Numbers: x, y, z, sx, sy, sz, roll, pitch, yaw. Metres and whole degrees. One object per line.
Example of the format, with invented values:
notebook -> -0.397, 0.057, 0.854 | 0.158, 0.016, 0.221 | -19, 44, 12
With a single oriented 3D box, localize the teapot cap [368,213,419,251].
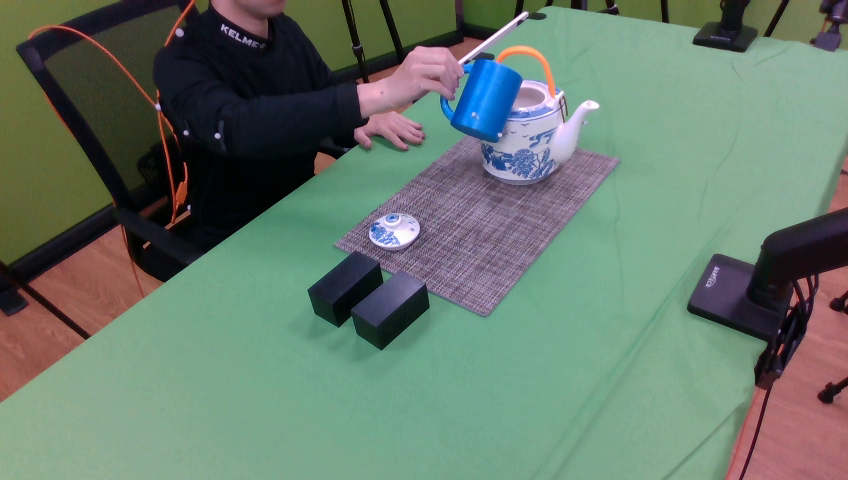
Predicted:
teapot cap -> -0.050, -0.019, 0.975 | 0.085, 0.044, 0.085 | -4, 43, 4

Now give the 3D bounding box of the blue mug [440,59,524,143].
blue mug -> 0.083, -0.222, 0.947 | 0.116, 0.106, 0.082 | 23, 2, 7

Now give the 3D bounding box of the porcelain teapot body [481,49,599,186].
porcelain teapot body -> 0.193, -0.208, 1.024 | 0.204, 0.226, 0.145 | 16, 46, 25
